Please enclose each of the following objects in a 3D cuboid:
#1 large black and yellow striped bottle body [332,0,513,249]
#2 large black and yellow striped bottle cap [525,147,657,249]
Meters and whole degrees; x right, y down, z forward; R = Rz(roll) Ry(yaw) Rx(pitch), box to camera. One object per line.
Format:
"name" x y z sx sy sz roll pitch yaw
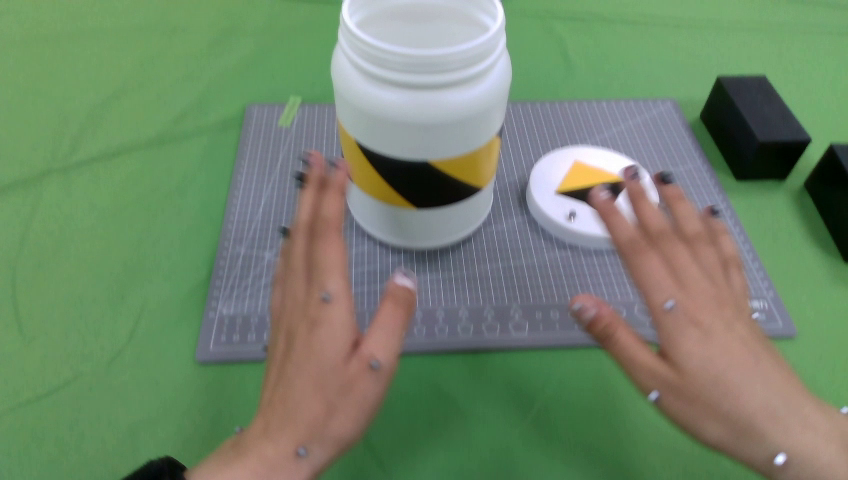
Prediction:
"large black and yellow striped bottle body" -0.002 -0.097 0.471 0.131 0.185 0.129 1 50 -1
"large black and yellow striped bottle cap" 0.149 -0.041 0.541 0.115 0.019 0.114 2 49 -2
